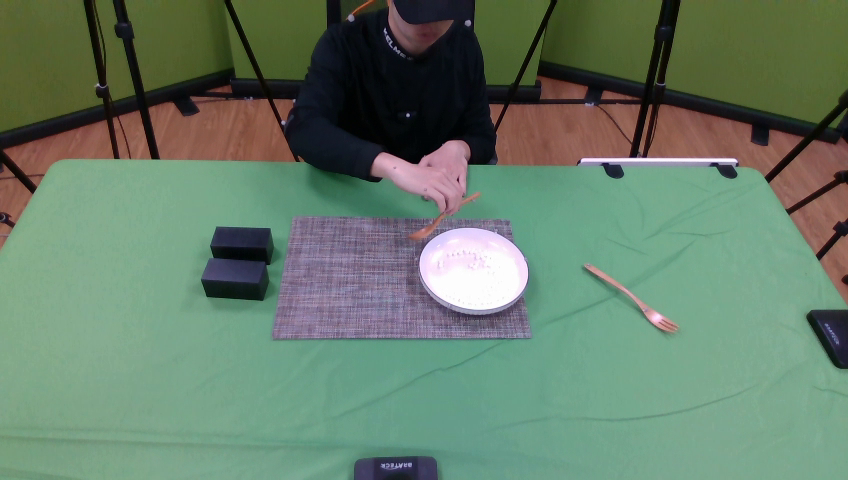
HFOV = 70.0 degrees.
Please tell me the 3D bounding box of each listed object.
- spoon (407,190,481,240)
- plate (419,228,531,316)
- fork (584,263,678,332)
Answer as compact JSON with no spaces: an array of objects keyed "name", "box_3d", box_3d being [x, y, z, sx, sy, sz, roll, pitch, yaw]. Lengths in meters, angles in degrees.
[{"name":"spoon","box_3d":[0.042,-0.050,1.161,0.193,0.022,0.041,-39,20,-27]},{"name":"plate","box_3d":[0.093,0.062,1.131,0.208,0.039,0.206,2,46,-2]},{"name":"fork","box_3d":[0.380,0.103,1.130,0.028,0.019,0.206,-34,58,-23]}]
